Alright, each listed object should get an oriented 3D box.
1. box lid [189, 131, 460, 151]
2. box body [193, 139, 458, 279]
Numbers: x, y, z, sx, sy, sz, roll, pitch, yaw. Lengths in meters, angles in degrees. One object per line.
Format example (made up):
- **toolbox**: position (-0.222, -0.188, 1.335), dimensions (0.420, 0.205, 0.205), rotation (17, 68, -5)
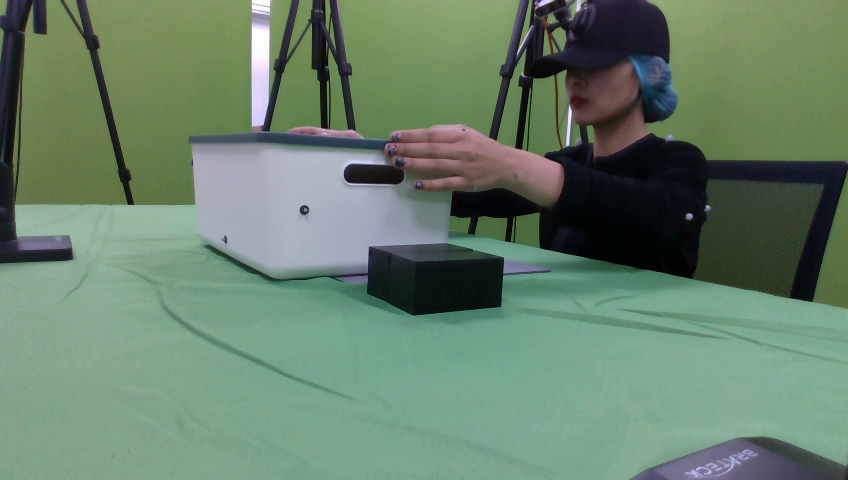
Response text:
- **box lid**: position (-0.150, -0.132, 0.828), dimensions (0.265, 0.015, 0.369), rotation (-3, 9, -33)
- **box body**: position (-0.154, -0.058, 0.840), dimensions (0.255, 0.160, 0.362), rotation (-2, 9, -33)
